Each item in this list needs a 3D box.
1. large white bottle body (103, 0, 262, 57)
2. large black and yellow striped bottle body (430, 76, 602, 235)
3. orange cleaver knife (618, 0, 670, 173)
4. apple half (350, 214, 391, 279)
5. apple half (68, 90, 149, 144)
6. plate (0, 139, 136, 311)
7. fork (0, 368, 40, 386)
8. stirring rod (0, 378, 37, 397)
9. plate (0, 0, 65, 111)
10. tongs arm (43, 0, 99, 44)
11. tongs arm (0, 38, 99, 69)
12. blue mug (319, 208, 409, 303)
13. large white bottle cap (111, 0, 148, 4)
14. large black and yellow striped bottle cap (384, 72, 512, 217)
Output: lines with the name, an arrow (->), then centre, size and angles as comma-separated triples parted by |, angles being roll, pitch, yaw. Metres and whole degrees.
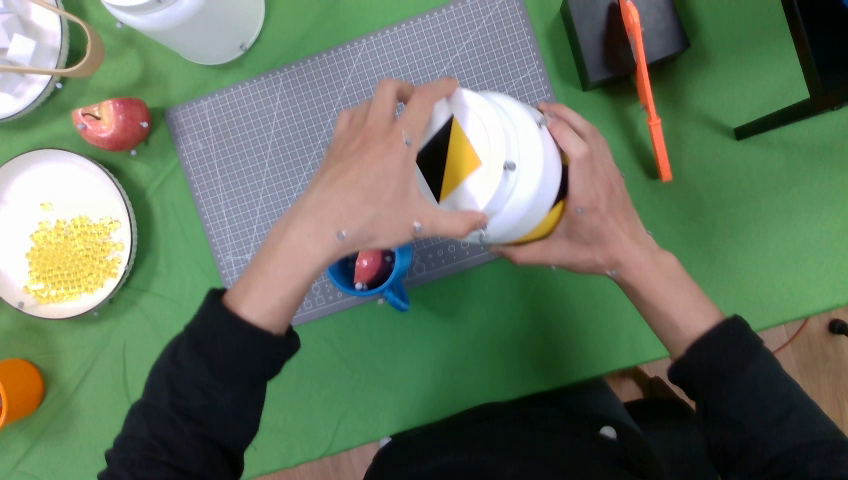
large white bottle body -> -0.265, -0.281, 0.641 | 0.130, 0.184, 0.130 | 0, 92, 5
large black and yellow striped bottle body -> 0.067, -0.072, 0.550 | 0.130, 0.185, 0.130 | -2, 87, 38
orange cleaver knife -> 0.236, -0.174, 0.656 | 0.012, 0.076, 0.213 | -17, 118, 14
apple half -> -0.052, 0.010, 0.671 | 0.032, 0.081, 0.081 | 12, 94, 12
apple half -> -0.365, -0.141, 0.713 | 0.081, 0.074, 0.053 | -14, 96, 2
plate -> -0.450, -0.018, 0.744 | 0.209, 0.038, 0.209 | 0, 94, 5
fork -> -0.573, 0.178, 0.709 | 0.208, 0.018, 0.028 | -3, 92, -38
stirring rod -> -0.559, 0.194, 0.712 | 0.177, 0.006, 0.014 | -11, 80, -35
plate -> -0.532, -0.258, 0.737 | 0.207, 0.039, 0.207 | 0, 94, 5
tongs arm -> -0.547, -0.317, 0.705 | 0.387, 0.028, 0.028 | 24, 88, 5
tongs arm -> -0.569, -0.237, 0.709 | 0.384, 0.026, 0.051 | 10, 91, 6
blue mug -> -0.054, 0.020, 0.677 | 0.082, 0.106, 0.116 | -34, 90, 6
large white bottle cap -> -0.274, -0.278, 0.556 | 0.115, 0.018, 0.115 | 0, 93, 6
large black and yellow striped bottle cap -> 0.016, -0.076, 0.483 | 0.114, 0.019, 0.115 | -1, 89, 37
